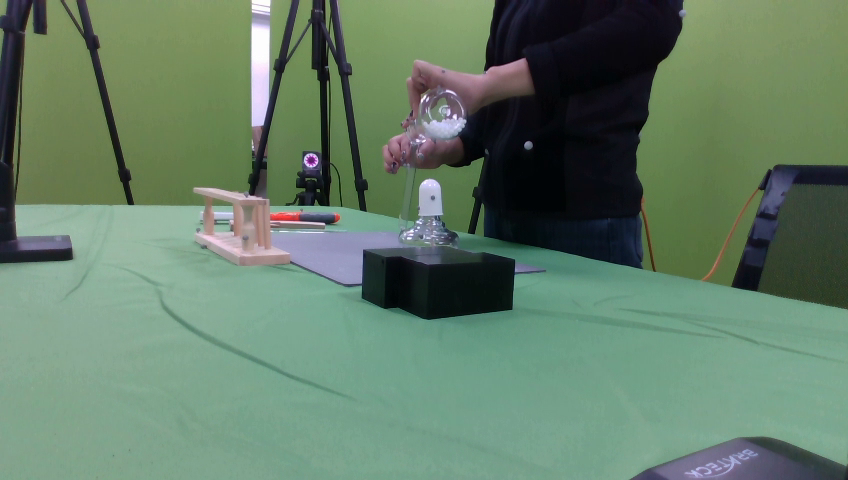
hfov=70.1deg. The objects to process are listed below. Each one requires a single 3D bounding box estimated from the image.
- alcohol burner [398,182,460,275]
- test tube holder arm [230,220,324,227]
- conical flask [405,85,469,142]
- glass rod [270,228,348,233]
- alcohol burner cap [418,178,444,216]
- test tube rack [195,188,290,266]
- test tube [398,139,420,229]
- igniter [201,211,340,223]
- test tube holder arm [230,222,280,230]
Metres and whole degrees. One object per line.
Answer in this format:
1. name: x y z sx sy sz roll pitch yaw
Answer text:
1. alcohol burner: 0.007 -0.017 0.751 0.078 0.119 0.078 3 10 0
2. test tube holder arm: -0.275 -0.030 1.145 0.179 0.015 0.013 -2 44 -31
3. conical flask: 0.009 -0.174 0.887 0.075 0.075 0.121 -1 -4 -21
4. glass rod: -0.234 -0.017 1.105 0.201 0.008 0.008 1 7 -26
5. alcohol burner cap: 0.007 -0.053 0.745 0.034 0.048 0.034 -3 6 1
6. test tube rack: -0.266 -0.025 0.864 0.067 0.085 0.241 -2 9 -33
7. test tube: -0.025 -0.087 0.971 0.017 0.150 0.017 8 22 -3
8. igniter: -0.311 -0.048 1.243 0.278 0.025 0.057 -1 -2 -24
9. test tube holder arm: -0.312 -0.025 1.118 0.088 0.015 0.010 -1 44 -30
